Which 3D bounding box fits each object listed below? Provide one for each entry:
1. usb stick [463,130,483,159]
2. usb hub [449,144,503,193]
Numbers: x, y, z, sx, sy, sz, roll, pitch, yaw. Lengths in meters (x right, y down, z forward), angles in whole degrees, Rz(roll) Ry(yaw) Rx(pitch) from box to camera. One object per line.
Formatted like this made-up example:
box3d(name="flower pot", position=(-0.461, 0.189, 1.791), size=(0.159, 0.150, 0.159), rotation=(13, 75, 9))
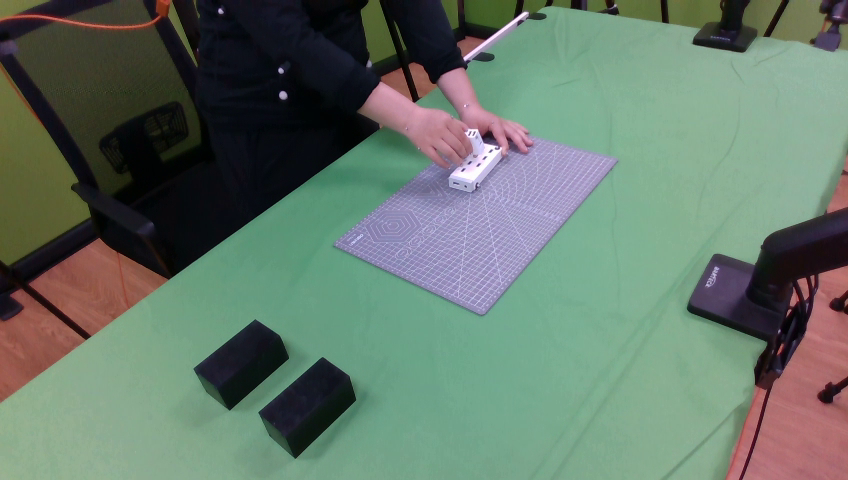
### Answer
box3d(name="usb stick", position=(0.090, -0.169, 1.090), size=(0.027, 0.059, 0.021), rotation=(9, 53, 23))
box3d(name="usb hub", position=(0.096, -0.132, 1.105), size=(0.049, 0.025, 0.125), rotation=(18, 47, 27))
